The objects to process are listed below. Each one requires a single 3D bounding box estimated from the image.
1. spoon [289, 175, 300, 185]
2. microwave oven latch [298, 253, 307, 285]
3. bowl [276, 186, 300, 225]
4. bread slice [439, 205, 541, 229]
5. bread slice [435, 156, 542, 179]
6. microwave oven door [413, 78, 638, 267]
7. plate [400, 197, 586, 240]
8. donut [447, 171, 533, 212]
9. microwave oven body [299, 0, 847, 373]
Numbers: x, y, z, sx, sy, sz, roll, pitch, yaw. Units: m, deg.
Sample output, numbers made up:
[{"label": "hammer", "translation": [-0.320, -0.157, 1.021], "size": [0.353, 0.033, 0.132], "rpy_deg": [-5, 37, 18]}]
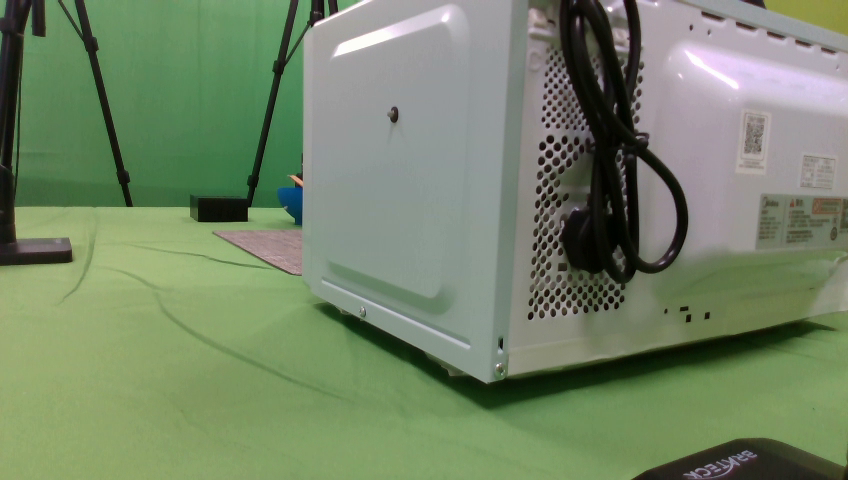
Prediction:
[{"label": "spoon", "translation": [-0.261, -0.111, 1.343], "size": [0.042, 0.021, 0.192], "rpy_deg": [-8, 33, -30]}, {"label": "microwave oven latch", "translation": [-0.081, 0.027, 0.582], "size": [0.079, 0.029, 0.030], "rpy_deg": [-1, 7, -32]}, {"label": "bowl", "translation": [-0.241, -0.073, 1.302], "size": [0.151, 0.077, 0.151], "rpy_deg": [2, 7, 0]}, {"label": "bread slice", "translation": [0.075, -0.027, 0.681], "size": [0.107, 0.018, 0.134], "rpy_deg": [-1, 7, 14]}, {"label": "bread slice", "translation": [0.072, -0.083, 0.675], "size": [0.104, 0.019, 0.132], "rpy_deg": [6, 10, 18]}, {"label": "microwave oven door", "translation": [0.128, -0.104, 0.888], "size": [0.354, 0.243, 0.039], "rpy_deg": [9, 10, 41]}, {"label": "plate", "translation": [0.077, -0.026, 0.688], "size": [0.208, 0.039, 0.207], "rpy_deg": [0, 6, 0]}, {"label": "donut", "translation": [0.075, -0.054, 0.686], "size": [0.099, 0.048, 0.099], "rpy_deg": [-1, 6, 0]}, {"label": "microwave oven body", "translation": [0.151, -0.055, 0.542], "size": [0.444, 0.260, 0.324], "rpy_deg": [-2, 7, -33]}]
